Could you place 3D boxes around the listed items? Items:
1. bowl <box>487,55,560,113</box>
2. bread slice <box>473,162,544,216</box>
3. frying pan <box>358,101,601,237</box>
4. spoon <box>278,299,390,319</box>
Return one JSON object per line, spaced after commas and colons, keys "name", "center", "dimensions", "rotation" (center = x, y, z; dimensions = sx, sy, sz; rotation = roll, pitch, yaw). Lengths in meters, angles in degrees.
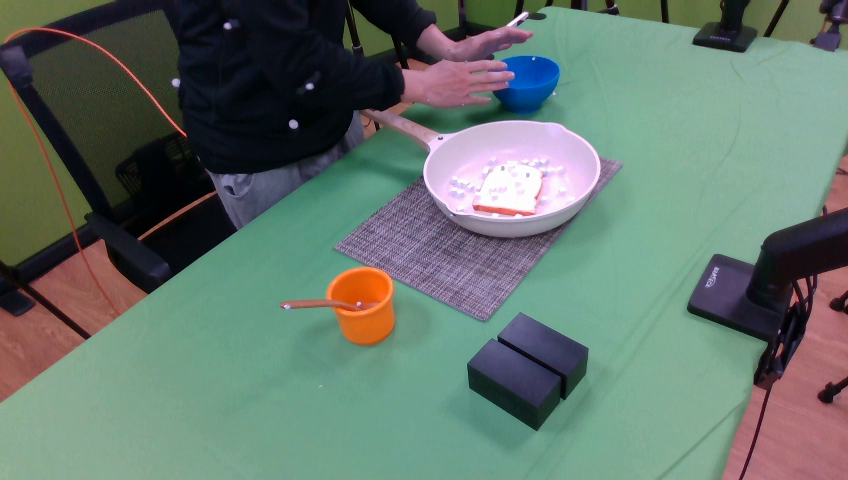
{"name": "bowl", "center": [0.208, -0.319, 1.266], "dimensions": [0.151, 0.077, 0.150], "rotation": [-4, 41, 4]}
{"name": "bread slice", "center": [0.150, -0.088, 1.041], "dimensions": [0.106, 0.018, 0.134], "rotation": [7, 45, 16]}
{"name": "frying pan", "center": [0.067, -0.153, 1.067], "dimensions": [0.484, 0.103, 0.308], "rotation": [32, 52, 26]}
{"name": "spoon", "center": [-0.113, 0.087, 0.787], "dimensions": [0.041, 0.021, 0.195], "rotation": [28, 7, 36]}
